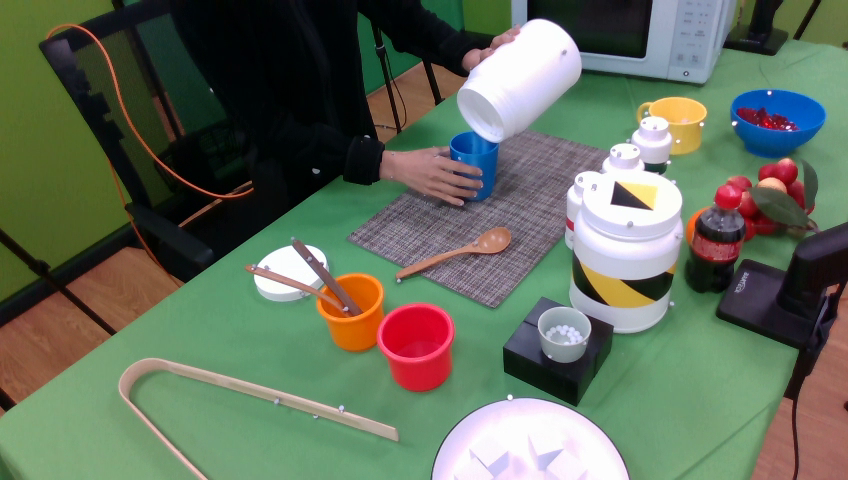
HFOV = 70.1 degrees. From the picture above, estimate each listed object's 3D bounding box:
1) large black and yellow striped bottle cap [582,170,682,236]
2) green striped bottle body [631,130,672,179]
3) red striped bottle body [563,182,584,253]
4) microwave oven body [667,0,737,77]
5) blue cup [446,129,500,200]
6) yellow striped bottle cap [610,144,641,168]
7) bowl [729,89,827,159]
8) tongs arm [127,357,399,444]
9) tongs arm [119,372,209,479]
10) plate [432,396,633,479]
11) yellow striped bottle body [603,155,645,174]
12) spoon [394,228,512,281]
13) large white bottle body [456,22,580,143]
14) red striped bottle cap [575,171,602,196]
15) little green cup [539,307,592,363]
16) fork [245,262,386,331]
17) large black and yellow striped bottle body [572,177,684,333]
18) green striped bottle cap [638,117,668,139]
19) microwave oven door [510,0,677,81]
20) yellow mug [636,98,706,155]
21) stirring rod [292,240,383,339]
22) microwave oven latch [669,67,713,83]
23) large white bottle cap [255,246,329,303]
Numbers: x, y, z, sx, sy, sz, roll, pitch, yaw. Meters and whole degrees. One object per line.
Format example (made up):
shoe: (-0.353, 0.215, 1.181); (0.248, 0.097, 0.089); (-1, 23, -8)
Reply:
large black and yellow striped bottle cap: (0.252, -0.048, 0.735); (0.115, 0.019, 0.114); (-3, 40, 3)
green striped bottle body: (0.375, -0.140, 1.007); (0.063, 0.120, 0.063); (-5, 41, 5)
red striped bottle body: (0.247, -0.041, 0.910); (0.063, 0.120, 0.062); (-1, 38, 1)
microwave oven body: (0.462, -0.552, 1.368); (0.439, 0.261, 0.326); (15, 45, 26)
blue cup: (0.082, -0.126, 1.044); (0.093, 0.100, 0.092); (3, 42, -2)
yellow striped bottle cap: (0.307, -0.128, 0.923); (0.044, 0.019, 0.044); (-6, 39, 5)
bowl: (0.615, -0.197, 1.069); (0.151, 0.077, 0.150); (-5, 40, 5)
tongs arm: (-0.213, 0.205, 0.755); (0.382, 0.026, 0.051); (12, 46, 23)
tongs arm: (-0.258, 0.257, 0.700); (0.384, 0.028, 0.028); (24, 55, 34)
plate: (0.112, 0.261, 0.634); (0.209, 0.038, 0.208); (-5, 40, 4)
yellow striped bottle body: (0.313, -0.089, 0.956); (0.063, 0.121, 0.062); (-4, 39, 4)
spoon: (0.045, 0.024, 0.935); (0.194, 0.022, 0.041); (-18, 66, -11)
large white bottle body: (0.153, -0.258, 1.002); (0.185, 0.131, 0.129); (-42, 49, -17)
red striped bottle cap: (0.242, -0.081, 0.876); (0.044, 0.018, 0.044); (-5, 44, 5)
little green cup: (0.168, 0.115, 0.722); (0.061, 0.039, 0.061); (-4, 42, 4)
fork: (-0.141, 0.076, 0.807); (0.209, 0.018, 0.028); (30, 51, -24)
large black and yellow striped bottle body: (0.262, 0.017, 0.788); (0.131, 0.185, 0.130); (-5, 40, 4)
green striped bottle cap: (0.369, -0.180, 0.974); (0.044, 0.020, 0.044); (-4, 41, 4)
microwave oven door: (0.354, -0.478, 1.291); (0.353, 0.245, 0.039); (15, 45, 25)
yellow mug: (0.453, -0.217, 1.128); (0.100, 0.064, 0.129); (-34, 46, -27)
stirring rod: (-0.118, 0.068, 0.825); (0.176, 0.006, 0.014); (48, 59, -3)
microwave oven latch: (0.556, -0.349, 1.261); (0.078, 0.029, 0.030); (16, 46, 27)
large white bottle cap: (-0.208, 0.052, 0.952); (0.115, 0.018, 0.114); (-4, 41, 4)
